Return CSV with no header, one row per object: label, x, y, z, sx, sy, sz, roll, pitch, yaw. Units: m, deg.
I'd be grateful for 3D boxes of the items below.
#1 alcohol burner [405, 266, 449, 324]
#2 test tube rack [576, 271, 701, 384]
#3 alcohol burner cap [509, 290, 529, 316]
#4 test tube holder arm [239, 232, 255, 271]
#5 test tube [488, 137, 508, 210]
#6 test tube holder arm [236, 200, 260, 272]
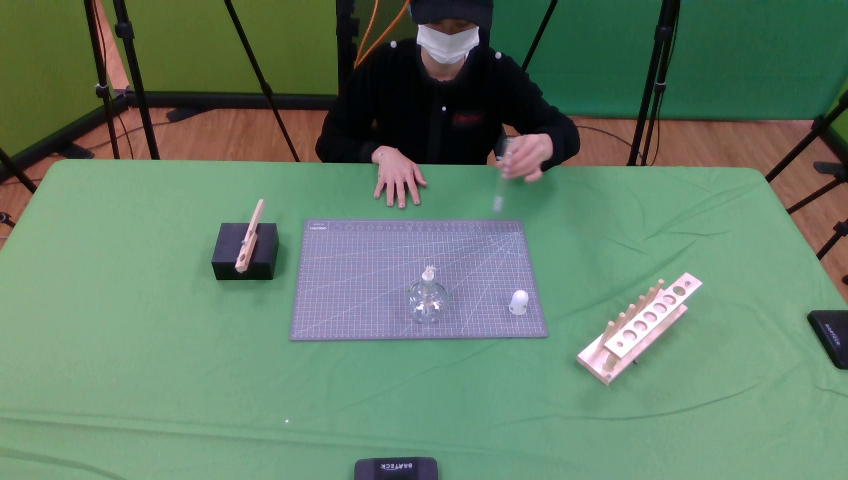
alcohol burner,0.005,0.089,1.043,0.078,0.120,0.077,1,45,-1
test tube rack,0.373,0.138,1.047,0.242,0.085,0.066,-31,56,-29
alcohol burner cap,0.171,0.110,1.086,0.034,0.048,0.033,2,45,-1
test tube holder arm,-0.317,0.020,1.089,0.010,0.015,0.087,1,45,-2
test tube,0.127,-0.112,1.049,0.017,0.151,0.017,2,42,-2
test tube holder arm,-0.324,-0.012,1.120,0.013,0.015,0.177,0,45,-3
